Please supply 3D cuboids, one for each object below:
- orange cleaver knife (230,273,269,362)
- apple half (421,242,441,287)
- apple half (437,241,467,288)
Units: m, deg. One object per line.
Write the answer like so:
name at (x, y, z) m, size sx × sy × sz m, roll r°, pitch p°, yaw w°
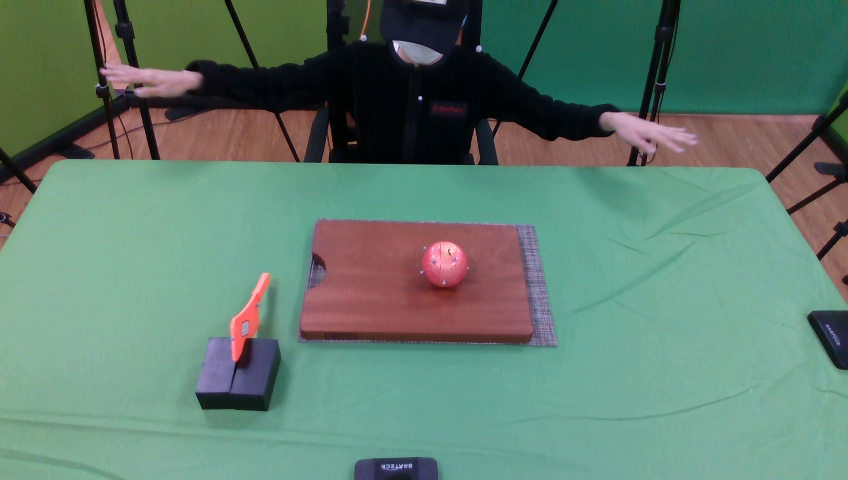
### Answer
orange cleaver knife at (-0.290, 0.124, 1.014) m, size 0.012 × 0.077 × 0.210 m, roll 1°, pitch 23°, yaw 1°
apple half at (0.010, 0.045, 1.079) m, size 0.033 × 0.081 × 0.081 m, roll 3°, pitch 45°, yaw -5°
apple half at (0.049, 0.047, 1.083) m, size 0.053 × 0.075 × 0.080 m, roll 3°, pitch 41°, yaw -6°
